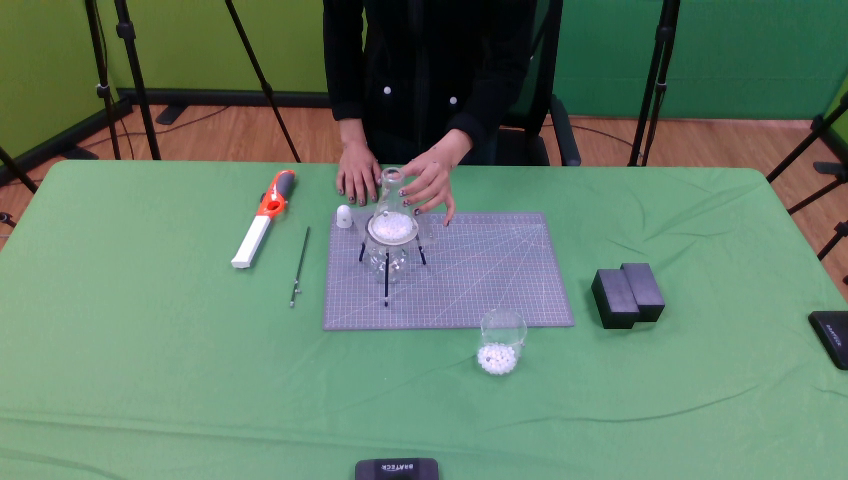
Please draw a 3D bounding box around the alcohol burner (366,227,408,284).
[{"bbox_3d":[-0.068,0.024,1.104,0.078,0.120,0.077,1,46,-1],"label":"alcohol burner"}]

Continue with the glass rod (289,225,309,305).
[{"bbox_3d":[-0.236,0.042,1.149,0.008,0.008,0.198,3,46,-1],"label":"glass rod"}]

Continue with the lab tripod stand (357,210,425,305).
[{"bbox_3d":[-0.060,0.020,1.094,0.148,0.132,0.147,3,44,-2],"label":"lab tripod stand"}]

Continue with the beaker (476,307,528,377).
[{"bbox_3d":[0.122,0.171,0.991,0.084,0.101,0.073,-34,56,-30],"label":"beaker"}]

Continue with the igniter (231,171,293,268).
[{"bbox_3d":[-0.321,-0.051,1.220,0.057,0.025,0.275,2,45,11],"label":"igniter"}]

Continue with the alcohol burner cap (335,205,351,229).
[{"bbox_3d":[-0.164,-0.049,1.216,0.034,0.048,0.033,2,45,-2],"label":"alcohol burner cap"}]

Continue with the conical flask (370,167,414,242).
[{"bbox_3d":[-0.053,-0.062,1.000,0.075,0.122,0.075,2,44,-2],"label":"conical flask"}]

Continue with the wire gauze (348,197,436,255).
[{"bbox_3d":[-0.056,-0.025,1.046,0.125,0.011,0.120,-14,46,-15],"label":"wire gauze"}]
